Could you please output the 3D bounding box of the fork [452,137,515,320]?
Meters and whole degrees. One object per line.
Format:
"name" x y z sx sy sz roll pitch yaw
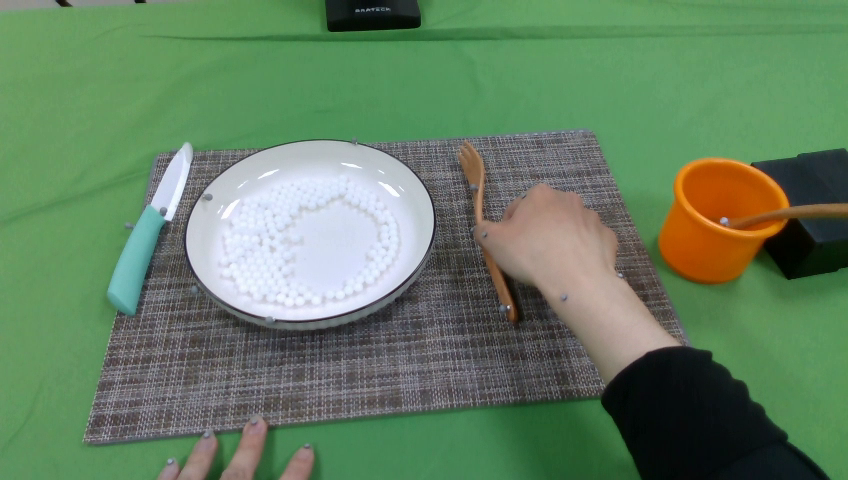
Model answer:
"fork" 0.051 -0.017 0.543 0.019 0.028 0.205 14 46 -26

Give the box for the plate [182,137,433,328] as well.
"plate" -0.096 -0.009 0.522 0.209 0.038 0.207 1 49 -1

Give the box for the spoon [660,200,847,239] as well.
"spoon" 0.274 -0.019 0.478 0.041 0.193 0.022 -34 102 -30

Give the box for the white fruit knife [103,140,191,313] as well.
"white fruit knife" -0.243 -0.023 0.544 0.027 0.016 0.205 22 44 -21
